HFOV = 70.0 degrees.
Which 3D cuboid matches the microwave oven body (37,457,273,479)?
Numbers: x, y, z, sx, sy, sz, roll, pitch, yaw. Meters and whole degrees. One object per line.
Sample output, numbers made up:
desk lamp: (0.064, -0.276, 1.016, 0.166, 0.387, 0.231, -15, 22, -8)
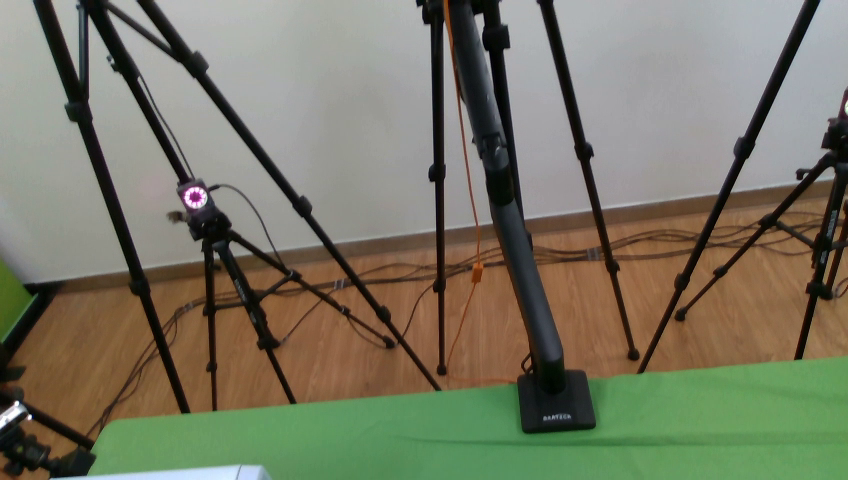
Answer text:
microwave oven body: (-0.347, 0.519, 0.690, 0.326, 0.263, 0.437, -7, 40, 7)
